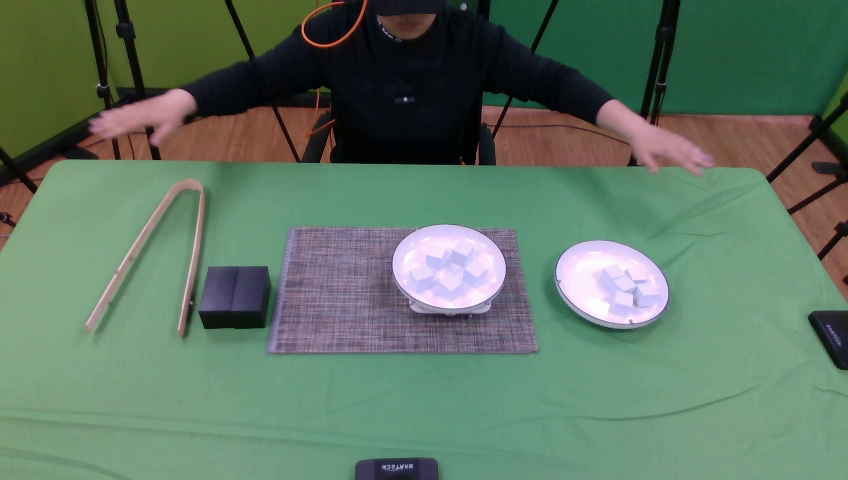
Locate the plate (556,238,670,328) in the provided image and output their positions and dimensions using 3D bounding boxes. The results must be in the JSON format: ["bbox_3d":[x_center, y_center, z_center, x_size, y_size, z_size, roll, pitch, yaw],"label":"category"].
[{"bbox_3d":[0.347,0.083,1.130,0.209,0.038,0.208,2,47,-2],"label":"plate"}]

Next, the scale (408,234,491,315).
[{"bbox_3d":[0.045,0.055,1.135,0.149,0.032,0.199,1,46,-3],"label":"scale"}]

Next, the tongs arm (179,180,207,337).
[{"bbox_3d":[-0.437,0.019,1.144,0.028,0.028,0.385,-6,47,-7],"label":"tongs arm"}]

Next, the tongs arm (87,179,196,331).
[{"bbox_3d":[-0.518,0.014,1.137,0.051,0.026,0.382,6,45,0],"label":"tongs arm"}]

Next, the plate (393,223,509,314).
[{"bbox_3d":[0.048,0.053,1.091,0.208,0.039,0.206,1,46,-1],"label":"plate"}]
